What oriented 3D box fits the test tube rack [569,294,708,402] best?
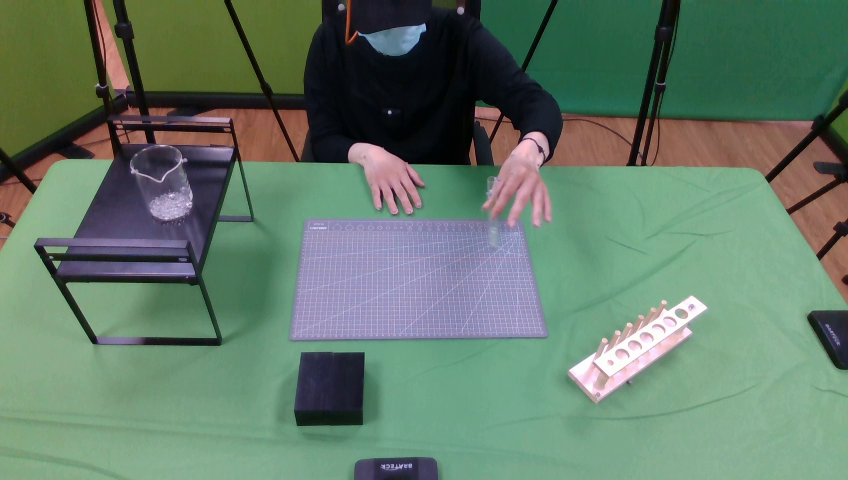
[{"bbox_3d":[0.360,0.167,1.014,0.242,0.085,0.066,-25,53,-25],"label":"test tube rack"}]

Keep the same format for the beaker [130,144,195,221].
[{"bbox_3d":[-0.403,-0.085,0.944,0.074,0.101,0.083,-15,50,-17],"label":"beaker"}]

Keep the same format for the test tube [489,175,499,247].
[{"bbox_3d":[0.117,-0.045,1.016,0.017,0.151,0.017,-4,42,4],"label":"test tube"}]
